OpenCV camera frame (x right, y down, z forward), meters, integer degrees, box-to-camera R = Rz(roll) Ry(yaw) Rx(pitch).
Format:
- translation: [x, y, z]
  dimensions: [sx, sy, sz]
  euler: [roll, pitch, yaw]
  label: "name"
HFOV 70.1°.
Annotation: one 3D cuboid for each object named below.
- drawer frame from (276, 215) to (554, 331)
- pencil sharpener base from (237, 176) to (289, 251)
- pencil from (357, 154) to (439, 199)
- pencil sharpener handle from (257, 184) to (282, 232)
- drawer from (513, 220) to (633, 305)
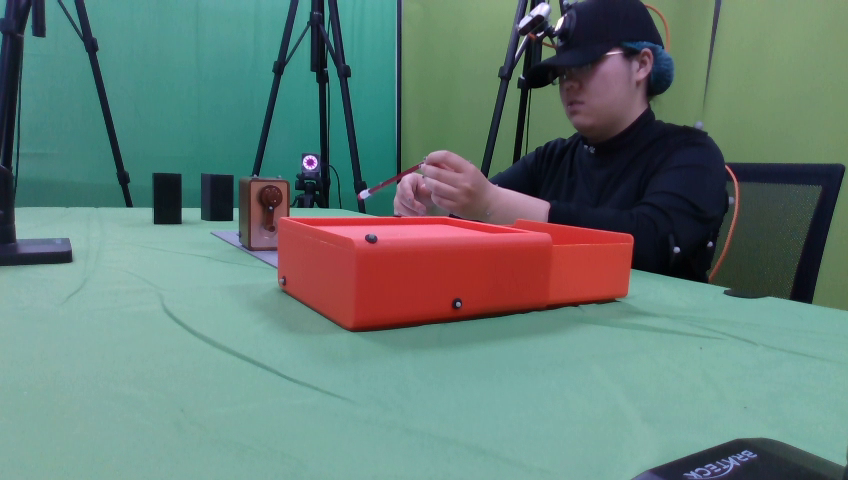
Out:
- translation: [-0.015, 0.022, 0.610]
  dimensions: [0.215, 0.082, 0.200]
  euler: [-2, 9, -32]
  label: "drawer frame"
- translation: [-0.243, -0.040, 0.911]
  dimensions: [0.061, 0.107, 0.076]
  euler: [-1, 8, -28]
  label: "pencil sharpener base"
- translation: [-0.044, -0.100, 0.960]
  dimensions: [0.193, 0.012, 0.012]
  euler: [-22, -11, 41]
  label: "pencil"
- translation: [-0.219, -0.046, 0.865]
  dimensions: [0.036, 0.067, 0.030]
  euler: [6, 5, -29]
  label: "pencil sharpener handle"
- translation: [0.085, 0.021, 0.673]
  dimensions: [0.213, 0.073, 0.193]
  euler: [-2, 9, -32]
  label: "drawer"
